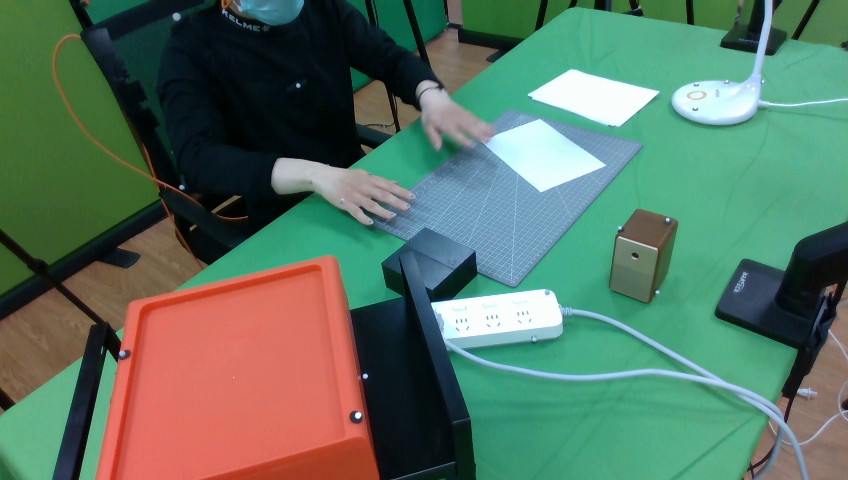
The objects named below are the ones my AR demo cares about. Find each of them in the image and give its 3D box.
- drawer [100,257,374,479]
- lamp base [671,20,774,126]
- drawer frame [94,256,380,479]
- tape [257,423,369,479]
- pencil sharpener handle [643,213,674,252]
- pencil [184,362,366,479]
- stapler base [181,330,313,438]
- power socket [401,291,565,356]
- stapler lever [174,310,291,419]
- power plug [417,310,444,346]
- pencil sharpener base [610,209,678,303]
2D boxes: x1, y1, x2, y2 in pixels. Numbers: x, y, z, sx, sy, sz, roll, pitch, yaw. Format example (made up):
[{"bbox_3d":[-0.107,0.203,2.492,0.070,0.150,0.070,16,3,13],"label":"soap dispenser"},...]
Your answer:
[{"bbox_3d":[-0.158,0.125,0.526,0.195,0.073,0.210,-13,41,-7],"label":"drawer"},{"bbox_3d":[0.581,-0.332,1.154,0.179,0.181,0.160,2,41,7],"label":"lamp base"},{"bbox_3d":[-0.155,0.125,0.525,0.202,0.083,0.212,-13,41,-8],"label":"drawer frame"},{"bbox_3d":[-0.121,0.262,0.660,0.117,0.053,0.116,-4,40,4],"label":"tape"},{"bbox_3d":[0.338,-0.016,0.857,0.035,0.068,0.031,1,35,44],"label":"pencil sharpener handle"},{"bbox_3d":[-0.127,0.158,0.519,0.195,0.012,0.012,-31,46,-28],"label":"pencil"},{"bbox_3d":[-0.167,0.126,0.563,0.131,0.024,0.041,-37,43,-20],"label":"stapler base"},{"bbox_3d":[0.080,0.112,0.822,0.227,0.033,0.072,-6,41,0],"label":"power socket"},{"bbox_3d":[-0.173,0.109,0.546,0.118,0.040,0.026,-36,43,-21],"label":"stapler lever"},{"bbox_3d":[0.006,0.122,0.785,0.035,0.053,0.072,-1,40,8],"label":"power plug"},{"bbox_3d":[0.304,0.021,0.839,0.061,0.107,0.077,21,48,30],"label":"pencil sharpener base"}]
